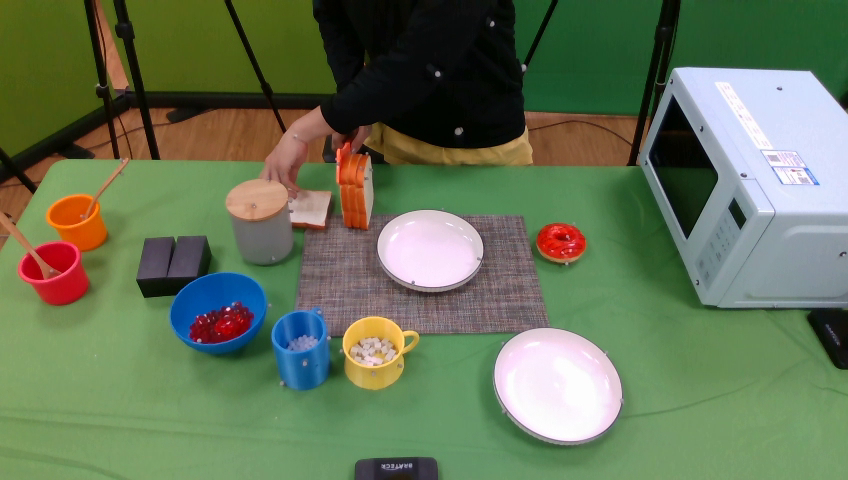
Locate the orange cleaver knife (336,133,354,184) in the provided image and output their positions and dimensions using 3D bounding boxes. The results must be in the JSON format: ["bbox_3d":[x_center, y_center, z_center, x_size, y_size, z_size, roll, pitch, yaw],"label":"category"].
[{"bbox_3d":[-0.160,-0.170,1.234,0.012,0.077,0.210,2,22,1],"label":"orange cleaver knife"}]

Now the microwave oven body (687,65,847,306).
[{"bbox_3d":[0.669,-0.111,1.176,0.326,0.261,0.439,0,46,-3],"label":"microwave oven body"}]

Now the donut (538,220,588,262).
[{"bbox_3d":[0.273,0.000,1.198,0.099,0.048,0.098,1,47,0],"label":"donut"}]

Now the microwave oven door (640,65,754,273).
[{"bbox_3d":[0.523,-0.147,1.193,0.039,0.245,0.353,0,47,-3],"label":"microwave oven door"}]

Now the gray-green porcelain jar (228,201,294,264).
[{"bbox_3d":[-0.299,-0.027,1.126,0.106,0.127,0.105,2,46,-2],"label":"gray-green porcelain jar"}]

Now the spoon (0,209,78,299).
[{"bbox_3d":[-0.668,0.021,1.040,0.041,0.021,0.194,-41,105,-30],"label":"spoon"}]

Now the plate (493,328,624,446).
[{"bbox_3d":[0.213,0.236,0.974,0.208,0.039,0.206,2,46,-2],"label":"plate"}]

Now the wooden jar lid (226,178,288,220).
[{"bbox_3d":[-0.296,-0.070,1.081,0.108,0.021,0.107,1,45,0],"label":"wooden jar lid"}]

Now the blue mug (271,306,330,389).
[{"bbox_3d":[-0.188,0.163,0.969,0.082,0.106,0.116,15,47,10],"label":"blue mug"}]

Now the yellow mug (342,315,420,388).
[{"bbox_3d":[-0.068,0.177,0.991,0.131,0.064,0.099,-15,50,-19],"label":"yellow mug"}]

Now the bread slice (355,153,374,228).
[{"bbox_3d":[-0.118,-0.104,1.208,0.018,0.135,0.106,4,47,3],"label":"bread slice"}]

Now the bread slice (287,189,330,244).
[{"bbox_3d":[-0.266,-0.056,1.256,0.132,0.019,0.104,20,56,-17],"label":"bread slice"}]

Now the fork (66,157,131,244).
[{"bbox_3d":[-0.608,-0.074,1.132,0.207,0.019,0.028,-52,48,10],"label":"fork"}]

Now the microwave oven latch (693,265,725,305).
[{"bbox_3d":[0.523,0.081,1.115,0.030,0.029,0.078,2,46,-1],"label":"microwave oven latch"}]

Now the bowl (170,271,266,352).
[{"bbox_3d":[-0.333,0.132,1.006,0.151,0.077,0.150,2,46,-2],"label":"bowl"}]

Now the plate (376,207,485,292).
[{"bbox_3d":[0.012,0.021,1.159,0.209,0.038,0.208,2,47,-2],"label":"plate"}]
